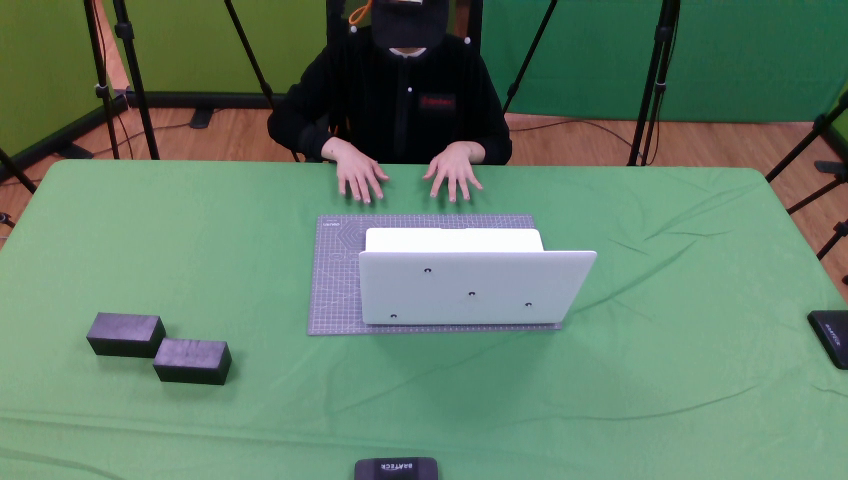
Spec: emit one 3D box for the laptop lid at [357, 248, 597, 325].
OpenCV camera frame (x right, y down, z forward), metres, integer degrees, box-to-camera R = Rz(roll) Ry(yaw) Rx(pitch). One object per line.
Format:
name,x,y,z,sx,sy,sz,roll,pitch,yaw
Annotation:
laptop lid,0.074,0.080,0.962,0.357,0.243,0.013,1,56,-5

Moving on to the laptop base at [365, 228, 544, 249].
laptop base,0.064,0.063,1.142,0.355,0.023,0.234,0,42,-4
